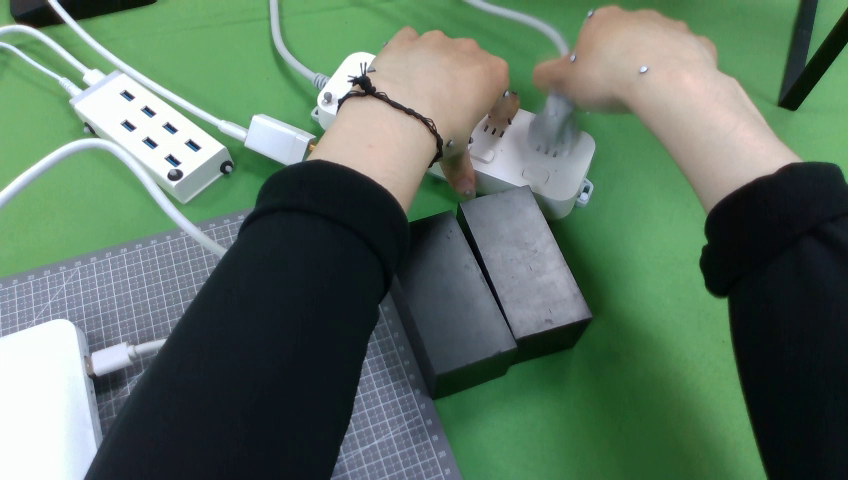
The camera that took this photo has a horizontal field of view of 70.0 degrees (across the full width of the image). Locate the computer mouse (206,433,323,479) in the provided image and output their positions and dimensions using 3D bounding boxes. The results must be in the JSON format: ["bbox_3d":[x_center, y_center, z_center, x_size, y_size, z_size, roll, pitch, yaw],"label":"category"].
[{"bbox_3d":[-0.083,0.158,0.313,0.063,0.041,0.116,-7,56,-4],"label":"computer mouse"}]

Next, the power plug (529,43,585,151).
[{"bbox_3d":[0.104,-0.098,0.434,0.035,0.053,0.072,33,63,22],"label":"power plug"}]

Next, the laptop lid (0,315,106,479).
[{"bbox_3d":[-0.329,0.194,0.282,0.357,0.013,0.239,-18,65,-12],"label":"laptop lid"}]

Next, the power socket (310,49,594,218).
[{"bbox_3d":[0.021,-0.085,0.464,0.226,0.033,0.072,23,61,11],"label":"power socket"}]

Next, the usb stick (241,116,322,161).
[{"bbox_3d":[-0.104,-0.074,0.453,0.059,0.021,0.027,13,101,-10],"label":"usb stick"}]

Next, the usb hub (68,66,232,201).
[{"bbox_3d":[-0.207,-0.082,0.456,0.124,0.025,0.049,35,65,17],"label":"usb hub"}]

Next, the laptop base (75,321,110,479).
[{"bbox_3d":[-0.330,0.198,0.293,0.355,0.023,0.233,-20,66,-13],"label":"laptop base"}]
